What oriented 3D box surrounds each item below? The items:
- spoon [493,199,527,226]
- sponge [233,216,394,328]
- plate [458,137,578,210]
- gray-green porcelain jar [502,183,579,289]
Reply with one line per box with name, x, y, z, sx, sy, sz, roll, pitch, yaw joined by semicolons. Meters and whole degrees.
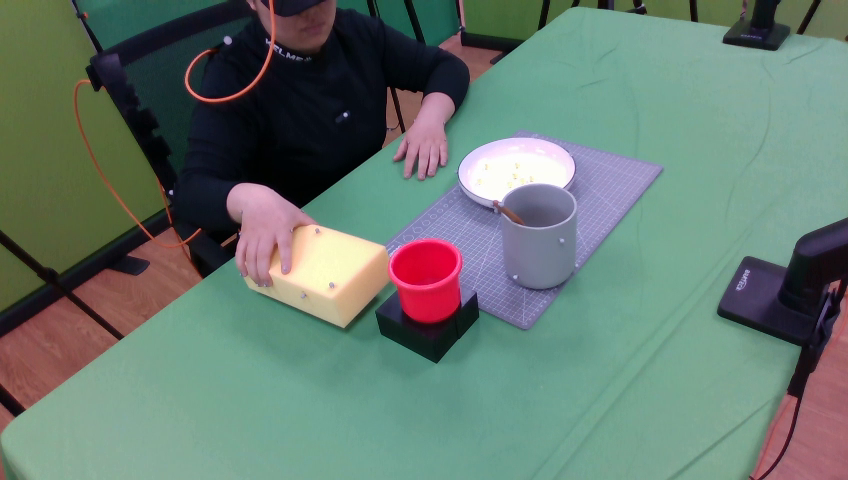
spoon;0.135;-0.016;0.831;0.021;0.195;0.041;-49;53;-1
sponge;-0.165;0.042;0.897;0.205;0.061;0.118;16;48;32
plate;0.166;-0.113;1.068;0.207;0.039;0.206;-5;40;5
gray-green porcelain jar;0.166;-0.001;0.866;0.106;0.127;0.105;-5;40;5
